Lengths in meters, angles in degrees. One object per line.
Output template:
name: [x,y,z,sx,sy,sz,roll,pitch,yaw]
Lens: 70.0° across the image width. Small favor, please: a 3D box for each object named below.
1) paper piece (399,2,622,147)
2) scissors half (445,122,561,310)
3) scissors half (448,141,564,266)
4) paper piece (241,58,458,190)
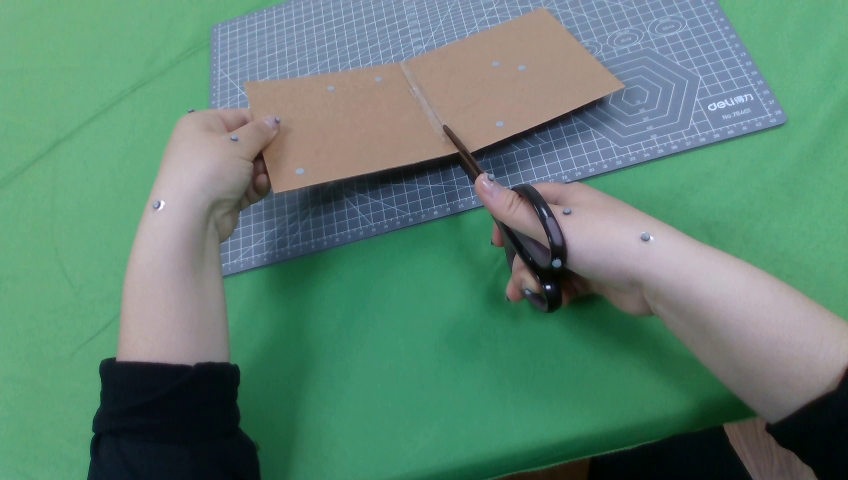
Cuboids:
paper piece: [0.063,-0.138,0.485,0.135,0.004,0.134,-22,52,-5]
scissors half: [0.046,-0.025,0.412,0.013,0.040,0.173,-21,60,-8]
scissors half: [0.044,-0.039,0.396,0.013,0.040,0.173,-17,34,-12]
paper piece: [-0.062,-0.096,0.464,0.138,0.009,0.134,-15,45,-12]
